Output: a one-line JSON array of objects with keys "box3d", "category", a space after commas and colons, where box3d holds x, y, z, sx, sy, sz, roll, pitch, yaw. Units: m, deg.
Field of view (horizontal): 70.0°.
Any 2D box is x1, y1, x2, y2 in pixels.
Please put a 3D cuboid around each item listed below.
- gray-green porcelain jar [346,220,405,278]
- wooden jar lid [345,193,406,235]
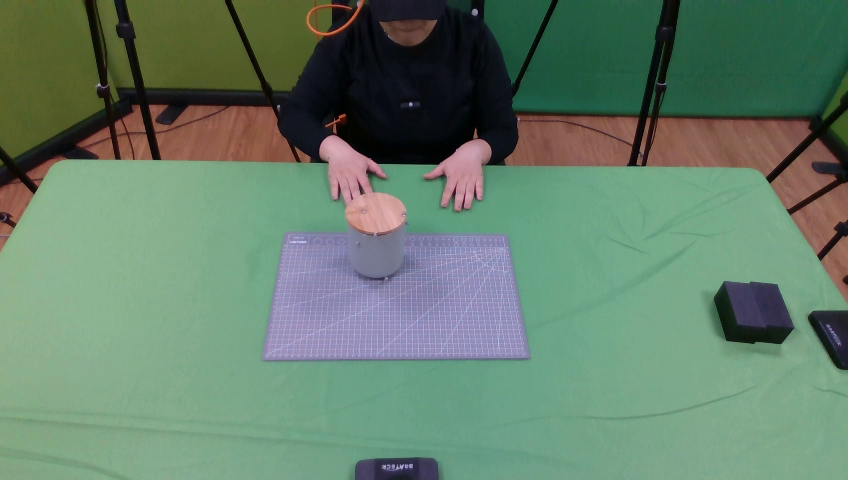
[{"box3d": [-0.089, 0.000, 1.116, 0.106, 0.127, 0.105, 2, 46, -2], "category": "gray-green porcelain jar"}, {"box3d": [-0.086, -0.043, 1.071, 0.108, 0.021, 0.107, 4, 44, -3], "category": "wooden jar lid"}]
